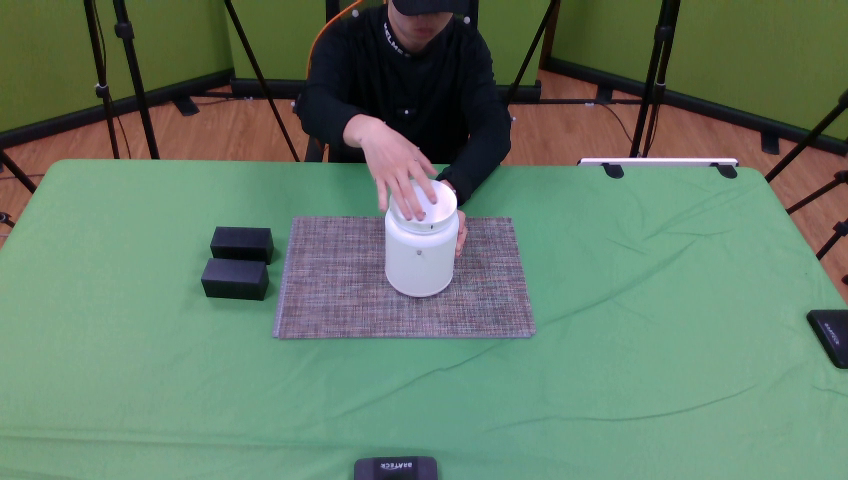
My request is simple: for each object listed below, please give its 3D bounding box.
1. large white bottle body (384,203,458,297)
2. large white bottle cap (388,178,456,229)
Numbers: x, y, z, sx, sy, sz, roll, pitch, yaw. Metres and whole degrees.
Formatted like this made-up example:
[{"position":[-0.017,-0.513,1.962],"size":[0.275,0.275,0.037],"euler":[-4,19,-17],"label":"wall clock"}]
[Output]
[{"position":[-0.006,-0.002,1.081],"size":[0.131,0.185,0.130],"euler":[2,46,-2],"label":"large white bottle body"},{"position":[-0.003,-0.063,1.020],"size":[0.115,0.018,0.114],"euler":[2,46,-2],"label":"large white bottle cap"}]
